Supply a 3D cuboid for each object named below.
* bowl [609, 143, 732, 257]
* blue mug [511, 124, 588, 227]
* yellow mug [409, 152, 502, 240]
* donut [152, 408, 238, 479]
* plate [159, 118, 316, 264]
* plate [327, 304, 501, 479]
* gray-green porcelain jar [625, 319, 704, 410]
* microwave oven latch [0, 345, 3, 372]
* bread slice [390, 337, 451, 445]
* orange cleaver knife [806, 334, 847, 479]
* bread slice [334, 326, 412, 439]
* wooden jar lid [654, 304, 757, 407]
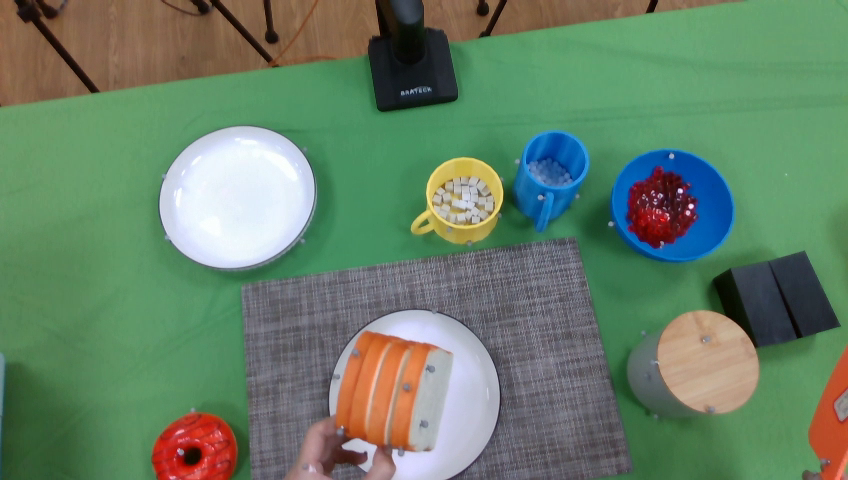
[{"bbox_3d":[0.307,-0.041,0.785,0.151,0.077,0.150,0,73,1],"label":"bowl"},{"bbox_3d":[0.157,-0.074,0.783,0.082,0.106,0.116,10,73,4],"label":"blue mug"},{"bbox_3d":[0.038,-0.050,0.797,0.131,0.064,0.099,-30,74,-7],"label":"yellow mug"},{"bbox_3d":[-0.269,0.249,0.718,0.099,0.048,0.098,1,73,-2],"label":"donut"},{"bbox_3d":[-0.248,-0.064,0.819,0.208,0.039,0.206,0,73,0],"label":"plate"},{"bbox_3d":[-0.011,0.182,0.736,0.209,0.038,0.208,0,73,0],"label":"plate"},{"bbox_3d":[0.297,0.143,0.703,0.106,0.127,0.105,0,72,0],"label":"gray-green porcelain jar"},{"bbox_3d":[-0.531,0.163,0.730,0.030,0.029,0.078,-5,73,-1],"label":"microwave oven latch"},{"bbox_3d":[-0.001,0.147,0.582,0.019,0.132,0.104,9,77,16],"label":"bread slice"},{"bbox_3d":[0.403,0.195,0.600,0.012,0.076,0.212,3,114,3],"label":"orange cleaver knife"},{"bbox_3d":[-0.046,0.139,0.600,0.018,0.135,0.106,9,71,22],"label":"bread slice"},{"bbox_3d":[0.296,0.123,0.643,0.108,0.021,0.108,1,73,-1],"label":"wooden jar lid"}]
